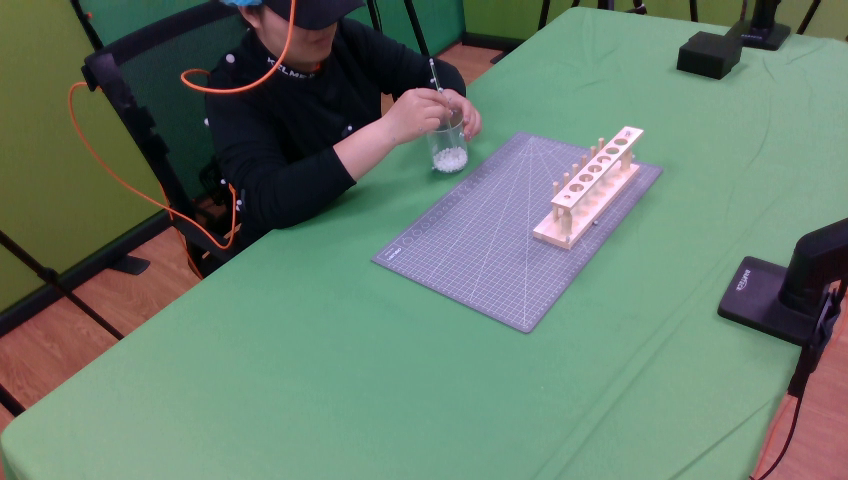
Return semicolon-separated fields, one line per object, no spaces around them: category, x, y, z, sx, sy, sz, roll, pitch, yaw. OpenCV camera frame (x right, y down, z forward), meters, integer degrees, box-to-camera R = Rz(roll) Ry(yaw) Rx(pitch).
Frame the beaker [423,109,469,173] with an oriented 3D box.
beaker;0.044;-0.183;1.121;0.073;0.101;0.084;7;46;20

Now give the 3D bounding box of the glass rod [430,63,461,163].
glass rod;0.039;-0.223;1.082;0.008;0.201;0.008;-12;36;9

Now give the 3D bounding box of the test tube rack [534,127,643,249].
test tube rack;0.271;-0.094;0.990;0.066;0.085;0.243;23;50;33
